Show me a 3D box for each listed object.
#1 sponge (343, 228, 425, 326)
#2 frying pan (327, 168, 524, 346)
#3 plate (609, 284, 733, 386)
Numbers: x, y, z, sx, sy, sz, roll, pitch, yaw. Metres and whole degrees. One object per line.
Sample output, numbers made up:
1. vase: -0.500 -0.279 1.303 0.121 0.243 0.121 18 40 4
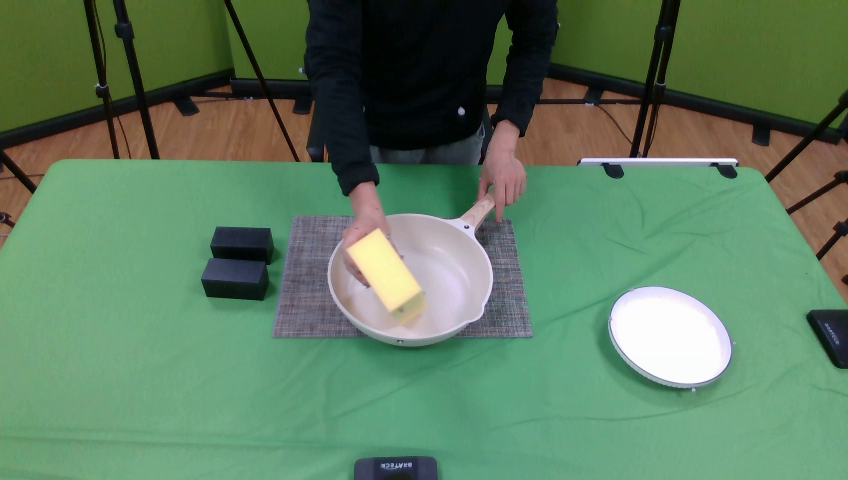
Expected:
1. sponge: -0.059 0.067 0.983 0.061 0.207 0.118 -35 78 -6
2. frying pan: 0.042 0.009 1.132 0.305 0.103 0.487 34 61 24
3. plate: 0.425 0.167 1.059 0.208 0.039 0.206 2 46 -2
